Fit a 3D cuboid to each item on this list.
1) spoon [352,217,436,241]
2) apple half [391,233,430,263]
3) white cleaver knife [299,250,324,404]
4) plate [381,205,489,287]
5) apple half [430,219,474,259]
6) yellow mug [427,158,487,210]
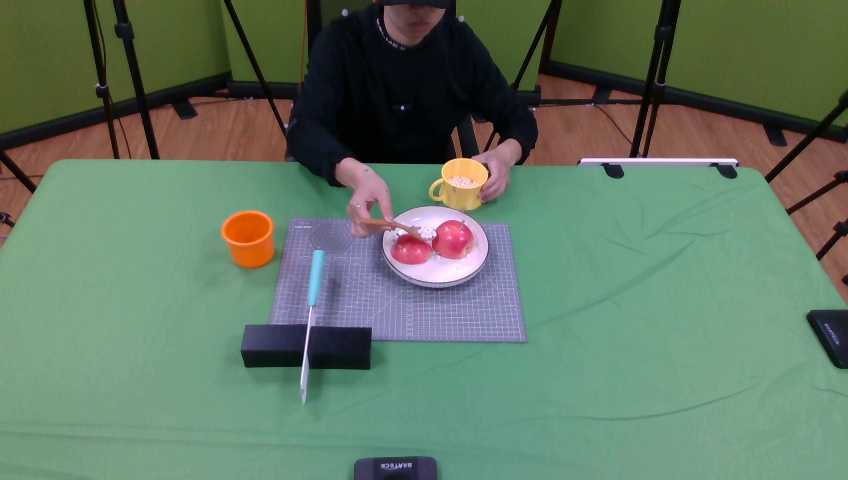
[{"bbox_3d":[-0.052,-0.025,1.090,0.195,0.021,0.041,14,33,-45],"label":"spoon"},{"bbox_3d":[-0.024,0.009,1.163,0.081,0.033,0.081,2,43,-1],"label":"apple half"},{"bbox_3d":[-0.194,0.134,1.019,0.021,0.066,0.284,5,50,-6],"label":"white cleaver knife"},{"bbox_3d":[0.021,0.015,1.170,0.209,0.038,0.208,2,46,-2],"label":"plate"},{"bbox_3d":[0.056,-0.008,1.172,0.081,0.053,0.074,-33,59,-31],"label":"apple half"},{"bbox_3d":[0.067,-0.116,1.284,0.131,0.064,0.099,-17,49,-18],"label":"yellow mug"}]
